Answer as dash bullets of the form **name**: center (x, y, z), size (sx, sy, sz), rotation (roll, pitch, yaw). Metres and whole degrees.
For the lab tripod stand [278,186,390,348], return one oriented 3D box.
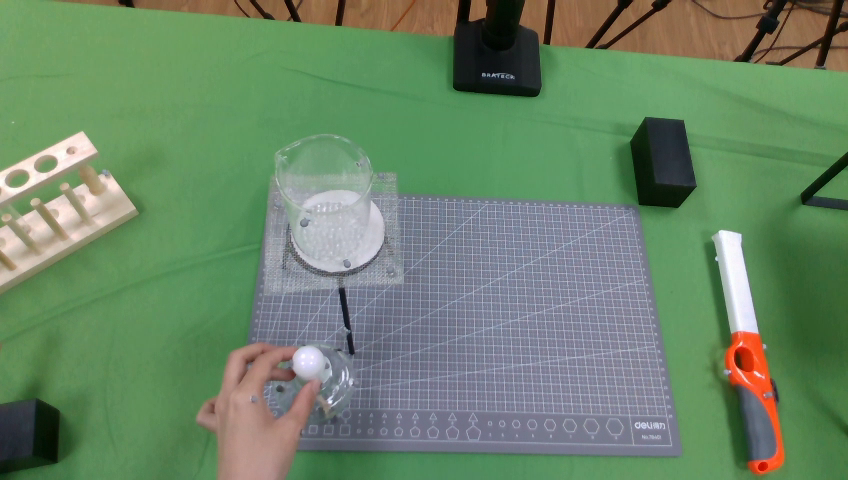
- **lab tripod stand**: center (-0.087, 0.021, 0.611), size (0.148, 0.132, 0.147), rotation (3, 63, -6)

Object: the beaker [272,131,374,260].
- **beaker**: center (-0.085, -0.034, 0.510), size (0.084, 0.101, 0.073), rotation (25, 63, 7)

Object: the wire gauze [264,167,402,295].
- **wire gauze**: center (-0.085, -0.013, 0.555), size (0.121, 0.011, 0.124), rotation (-3, 67, -5)

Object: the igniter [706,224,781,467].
- **igniter**: center (0.351, 0.107, 0.671), size (0.057, 0.025, 0.274), rotation (10, 62, -12)

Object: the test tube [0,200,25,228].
- **test tube**: center (-0.430, -0.055, 0.592), size (0.017, 0.151, 0.017), rotation (3, 58, -4)

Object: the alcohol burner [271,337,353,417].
- **alcohol burner**: center (-0.105, 0.123, 0.568), size (0.078, 0.120, 0.077), rotation (3, 61, -6)

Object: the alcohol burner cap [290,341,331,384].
- **alcohol burner cap**: center (-0.102, 0.107, 0.535), size (0.034, 0.048, 0.033), rotation (0, 66, 0)

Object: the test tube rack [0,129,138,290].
- **test tube rack**: center (-0.436, -0.009, 0.623), size (0.242, 0.086, 0.066), rotation (-36, 71, -21)
